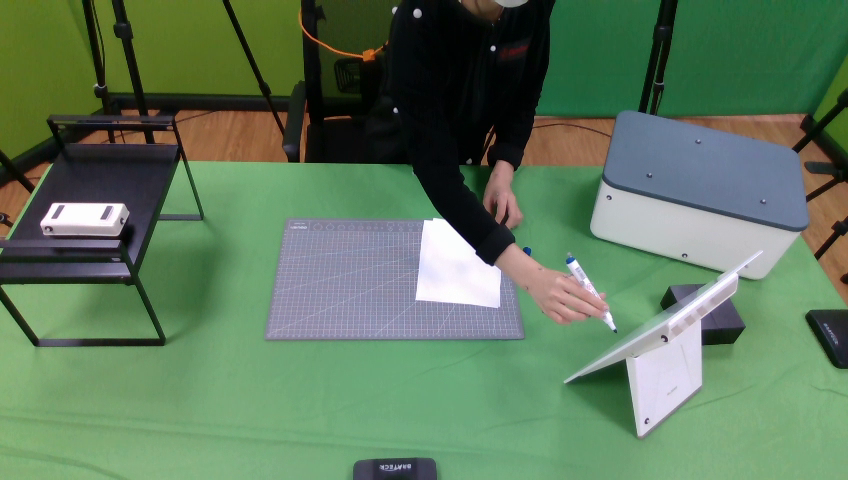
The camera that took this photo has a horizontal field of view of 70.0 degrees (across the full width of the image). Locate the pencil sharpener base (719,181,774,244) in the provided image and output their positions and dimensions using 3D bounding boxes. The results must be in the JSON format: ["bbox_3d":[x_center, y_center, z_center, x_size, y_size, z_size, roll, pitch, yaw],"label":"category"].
[{"bbox_3d":[0.652,-0.056,1.232,0.061,0.107,0.076,11,46,6],"label":"pencil sharpener base"}]

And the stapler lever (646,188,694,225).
[{"bbox_3d":[0.515,-0.078,1.265,0.027,0.040,0.117,-1,41,-29],"label":"stapler lever"}]

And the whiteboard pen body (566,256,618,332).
[{"bbox_3d":[0.260,0.085,0.931,0.017,0.017,0.141,-39,98,-33],"label":"whiteboard pen body"}]

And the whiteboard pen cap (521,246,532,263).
[{"bbox_3d":[0.200,0.029,1.188,0.018,0.018,0.033,15,48,10],"label":"whiteboard pen cap"}]

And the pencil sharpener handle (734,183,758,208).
[{"bbox_3d":[0.663,-0.100,1.259,0.036,0.068,0.030,10,46,6],"label":"pencil sharpener handle"}]

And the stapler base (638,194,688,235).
[{"bbox_3d":[0.509,-0.059,1.278,0.041,0.024,0.129,-1,40,-30],"label":"stapler base"}]

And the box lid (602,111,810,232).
[{"bbox_3d":[0.545,-0.143,1.176,0.371,0.015,0.262,15,47,11],"label":"box lid"}]

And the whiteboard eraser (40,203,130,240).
[{"bbox_3d":[-0.513,-0.028,0.922,0.113,0.042,0.055,1,48,-3],"label":"whiteboard eraser"}]

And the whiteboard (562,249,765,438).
[{"bbox_3d":[0.386,0.176,0.905,0.217,0.306,0.143,-26,72,-26],"label":"whiteboard"}]

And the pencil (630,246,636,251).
[{"bbox_3d":[0.431,-0.060,1.284,0.012,0.012,0.193,3,58,-1],"label":"pencil"}]

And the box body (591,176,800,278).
[{"bbox_3d":[0.540,-0.092,1.229,0.363,0.161,0.253,16,47,11],"label":"box body"}]
